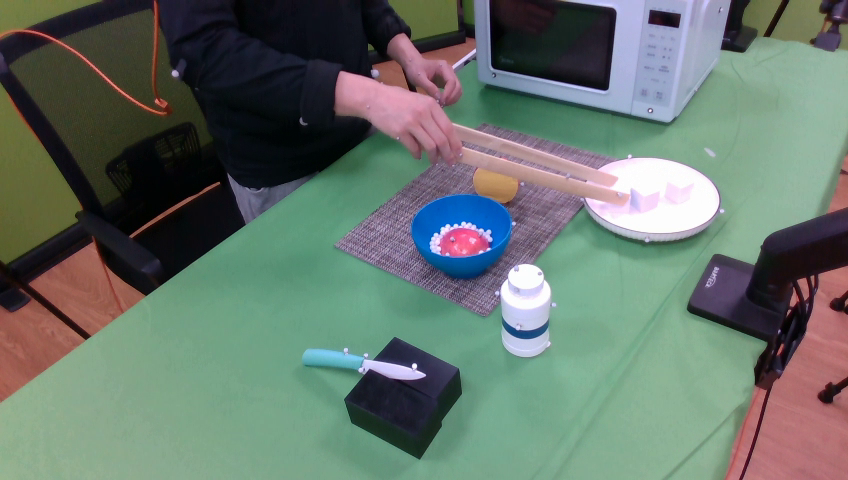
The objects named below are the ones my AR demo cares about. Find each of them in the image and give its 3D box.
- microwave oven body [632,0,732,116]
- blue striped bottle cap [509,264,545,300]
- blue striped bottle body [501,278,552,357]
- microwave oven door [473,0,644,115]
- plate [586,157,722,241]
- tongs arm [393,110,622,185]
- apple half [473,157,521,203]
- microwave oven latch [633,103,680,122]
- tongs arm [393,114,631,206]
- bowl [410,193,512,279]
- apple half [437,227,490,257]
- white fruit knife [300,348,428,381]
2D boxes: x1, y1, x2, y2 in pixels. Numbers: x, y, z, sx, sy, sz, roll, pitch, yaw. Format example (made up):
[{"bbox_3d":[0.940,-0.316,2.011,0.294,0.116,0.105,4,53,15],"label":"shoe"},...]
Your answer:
[{"bbox_3d":[0.377,-0.462,1.267,0.438,0.261,0.327,21,48,30],"label":"microwave oven body"},{"bbox_3d":[0.125,0.050,0.735,0.044,0.021,0.044,-5,39,5],"label":"blue striped bottle cap"},{"bbox_3d":[0.130,0.089,0.769,0.063,0.121,0.063,-4,41,4],"label":"blue striped bottle body"},{"bbox_3d":[0.257,-0.396,1.199,0.353,0.245,0.039,21,48,29],"label":"microwave oven door"},{"bbox_3d":[0.367,-0.063,0.979,0.207,0.039,0.206,-4,40,4],"label":"plate"},{"bbox_3d":[0.139,-0.139,0.935,0.390,0.028,0.028,13,47,-17],"label":"tongs arm"},{"bbox_3d":[0.128,-0.107,1.030,0.080,0.075,0.053,5,39,20],"label":"apple half"},{"bbox_3d":[0.443,-0.249,1.157,0.078,0.029,0.030,21,48,30],"label":"microwave oven latch"},{"bbox_3d":[0.140,-0.116,0.912,0.387,0.026,0.050,12,44,-18],"label":"tongs arm"},{"bbox_3d":[0.058,0.005,0.905,0.151,0.077,0.150,-4,40,4],"label":"bowl"},{"bbox_3d":[0.056,0.001,0.902,0.081,0.033,0.081,-3,43,3],"label":"apple half"},{"bbox_3d":[-0.079,0.155,0.748,0.206,0.027,0.016,0,20,34],"label":"white fruit knife"}]
